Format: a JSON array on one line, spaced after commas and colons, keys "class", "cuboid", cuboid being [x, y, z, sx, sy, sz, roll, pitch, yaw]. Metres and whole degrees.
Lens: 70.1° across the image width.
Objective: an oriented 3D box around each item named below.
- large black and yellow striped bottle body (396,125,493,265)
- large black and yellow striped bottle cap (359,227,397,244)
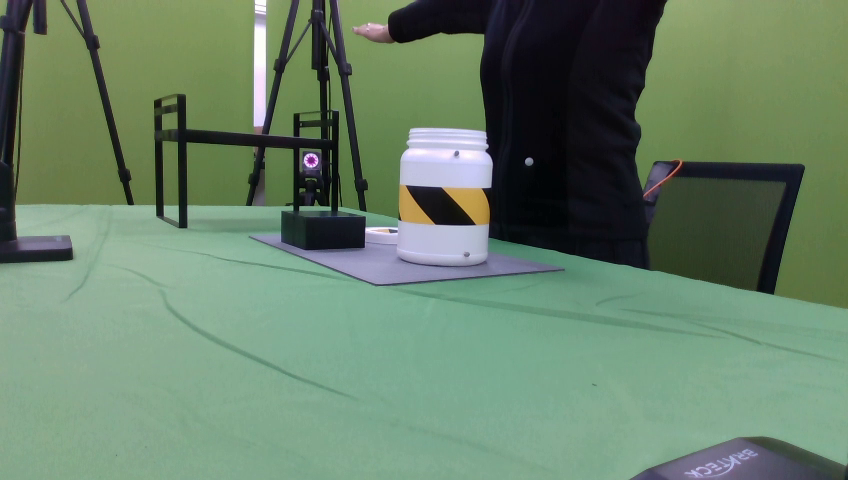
[{"class": "large black and yellow striped bottle body", "cuboid": [0.029, -0.064, 0.847, 0.131, 0.184, 0.130, 2, 7, 0]}, {"class": "large black and yellow striped bottle cap", "cuboid": [-0.056, -0.010, 1.053, 0.115, 0.019, 0.115, 1, 7, 0]}]
